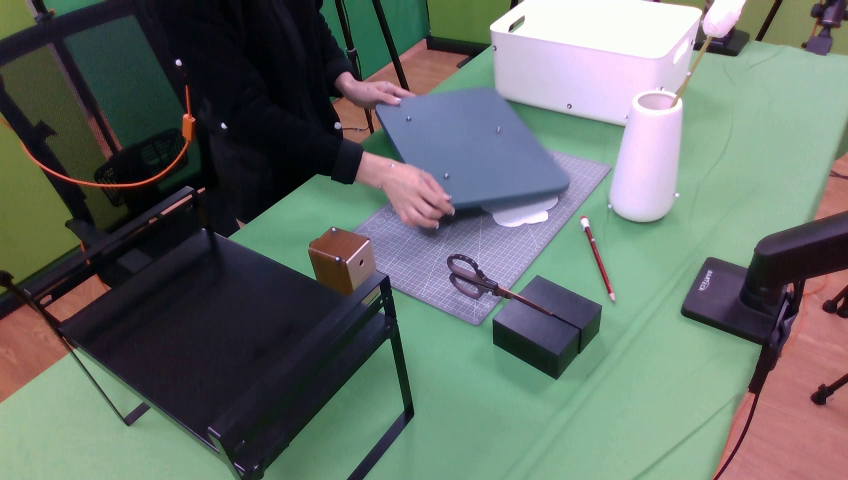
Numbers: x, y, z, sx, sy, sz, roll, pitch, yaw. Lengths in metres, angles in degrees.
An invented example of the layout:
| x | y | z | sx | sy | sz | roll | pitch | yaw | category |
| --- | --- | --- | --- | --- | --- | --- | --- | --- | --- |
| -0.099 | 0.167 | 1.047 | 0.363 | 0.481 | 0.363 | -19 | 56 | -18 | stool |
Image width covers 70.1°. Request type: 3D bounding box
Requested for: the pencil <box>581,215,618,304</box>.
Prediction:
| x | y | z | sx | sy | sz | roll | pitch | yaw | category |
| --- | --- | --- | --- | --- | --- | --- | --- | --- | --- |
| 0.266 | 0.025 | 0.916 | 0.012 | 0.012 | 0.193 | -6 | 42 | 1 | pencil |

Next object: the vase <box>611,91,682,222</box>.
| x | y | z | sx | sy | sz | roll | pitch | yaw | category |
| --- | --- | --- | --- | --- | --- | --- | --- | --- | --- |
| 0.348 | -0.125 | 0.935 | 0.098 | 0.201 | 0.097 | -3 | 40 | 3 | vase |

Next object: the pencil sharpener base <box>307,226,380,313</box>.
| x | y | z | sx | sy | sz | roll | pitch | yaw | category |
| --- | --- | --- | --- | --- | --- | --- | --- | --- | --- |
| -0.116 | 0.043 | 0.875 | 0.076 | 0.107 | 0.061 | 18 | 47 | 27 | pencil sharpener base |

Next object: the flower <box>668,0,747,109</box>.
| x | y | z | sx | sy | sz | roll | pitch | yaw | category |
| --- | --- | --- | --- | --- | --- | --- | --- | --- | --- |
| 0.355 | -0.187 | 0.880 | 0.038 | 0.362 | 0.044 | 30 | 48 | 14 | flower |

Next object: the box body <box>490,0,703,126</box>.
| x | y | z | sx | sy | sz | roll | pitch | yaw | category |
| --- | --- | --- | --- | --- | --- | --- | --- | --- | --- |
| 0.352 | -0.384 | 1.268 | 0.361 | 0.161 | 0.255 | 21 | 48 | 29 | box body |

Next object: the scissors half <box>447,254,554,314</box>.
| x | y | z | sx | sy | sz | roll | pitch | yaw | category |
| --- | --- | --- | --- | --- | --- | --- | --- | --- | --- |
| 0.101 | 0.060 | 0.821 | 0.174 | 0.040 | 0.013 | 28 | 51 | 29 | scissors half |

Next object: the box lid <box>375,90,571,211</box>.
| x | y | z | sx | sy | sz | roll | pitch | yaw | category |
| --- | --- | --- | --- | --- | --- | --- | --- | --- | --- |
| 0.077 | -0.177 | 1.102 | 0.264 | 0.015 | 0.368 | -11 | 42 | -16 | box lid |

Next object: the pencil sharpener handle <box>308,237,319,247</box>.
| x | y | z | sx | sy | sz | roll | pitch | yaw | category |
| --- | --- | --- | --- | --- | --- | --- | --- | --- | --- |
| -0.159 | 0.017 | 0.892 | 0.030 | 0.068 | 0.036 | 18 | 61 | 28 | pencil sharpener handle |

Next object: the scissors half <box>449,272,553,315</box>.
| x | y | z | sx | sy | sz | roll | pitch | yaw | category |
| --- | --- | --- | --- | --- | --- | --- | --- | --- | --- |
| 0.104 | 0.076 | 0.834 | 0.173 | 0.040 | 0.013 | 15 | 48 | 42 | scissors half |
